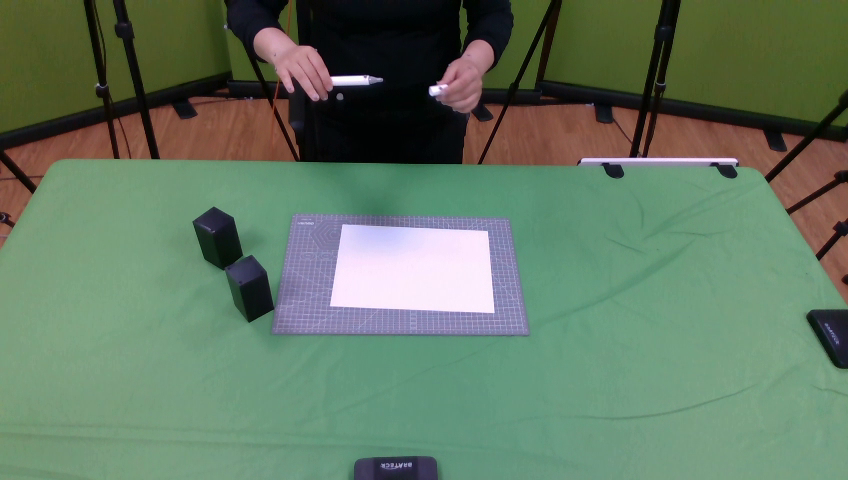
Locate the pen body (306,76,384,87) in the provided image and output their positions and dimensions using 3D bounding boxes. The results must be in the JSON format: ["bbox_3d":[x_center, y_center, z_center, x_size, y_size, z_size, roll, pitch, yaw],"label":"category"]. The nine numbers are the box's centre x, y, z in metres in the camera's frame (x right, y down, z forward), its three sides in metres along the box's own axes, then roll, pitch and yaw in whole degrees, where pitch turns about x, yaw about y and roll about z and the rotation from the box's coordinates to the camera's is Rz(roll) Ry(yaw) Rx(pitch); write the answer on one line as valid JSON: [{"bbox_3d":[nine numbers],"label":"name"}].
[{"bbox_3d":[-0.142,-0.284,1.091,0.144,0.017,0.017,1,45,10],"label":"pen body"}]

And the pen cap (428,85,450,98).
[{"bbox_3d":[0.027,-0.266,1.091,0.038,0.017,0.017,12,44,-15],"label":"pen cap"}]
